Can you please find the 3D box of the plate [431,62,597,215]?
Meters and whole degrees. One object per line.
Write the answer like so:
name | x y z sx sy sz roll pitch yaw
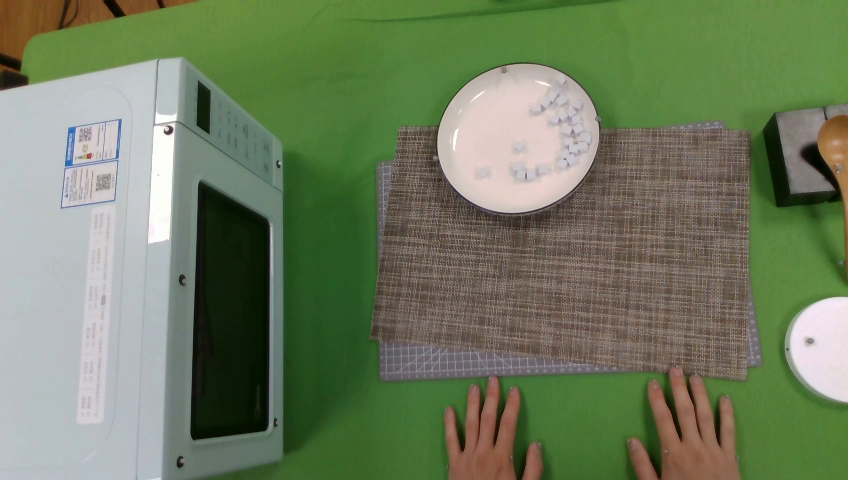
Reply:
plate | 0.114 -0.128 0.782 0.209 0.038 0.208 -3 75 12

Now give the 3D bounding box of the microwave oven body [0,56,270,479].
microwave oven body | -0.376 0.058 0.737 0.325 0.262 0.439 -7 76 11

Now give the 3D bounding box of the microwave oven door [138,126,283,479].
microwave oven door | -0.232 0.080 0.693 0.039 0.245 0.354 -7 76 12

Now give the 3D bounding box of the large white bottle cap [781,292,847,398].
large white bottle cap | 0.455 0.115 0.661 0.114 0.018 0.114 -3 77 12

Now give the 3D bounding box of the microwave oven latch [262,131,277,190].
microwave oven latch | -0.221 -0.108 0.841 0.030 0.030 0.079 -7 77 11

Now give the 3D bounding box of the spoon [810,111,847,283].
spoon | 0.453 -0.044 0.660 0.041 0.021 0.194 -12 97 8

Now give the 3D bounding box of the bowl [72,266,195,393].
bowl | -0.341 0.113 0.749 0.151 0.077 0.150 -3 76 12
